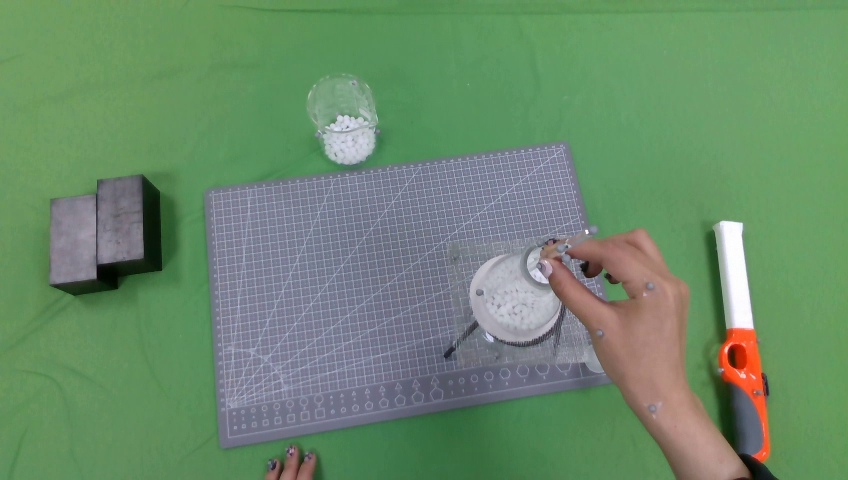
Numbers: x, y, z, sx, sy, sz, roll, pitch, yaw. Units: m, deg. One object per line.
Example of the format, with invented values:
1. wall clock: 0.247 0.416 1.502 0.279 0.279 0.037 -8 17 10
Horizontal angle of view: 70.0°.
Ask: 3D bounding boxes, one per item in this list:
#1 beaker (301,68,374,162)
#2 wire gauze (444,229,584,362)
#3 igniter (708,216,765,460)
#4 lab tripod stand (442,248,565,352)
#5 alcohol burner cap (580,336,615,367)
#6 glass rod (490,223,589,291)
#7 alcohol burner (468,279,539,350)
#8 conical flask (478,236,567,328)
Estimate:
1. beaker: -0.094 -0.140 0.707 0.084 0.100 0.074 26 75 5
2. wire gauze: 0.084 0.052 0.568 0.125 0.011 0.121 -2 77 -5
3. igniter: 0.354 0.105 0.690 0.057 0.025 0.275 5 73 -11
4. lab tripod stand: 0.085 0.072 0.631 0.148 0.132 0.147 0 75 -1
5. alcohol burner cap: 0.194 0.121 0.668 0.034 0.048 0.033 0 73 -1
6. glass rod: 0.082 0.018 0.469 0.008 0.200 0.008 3 74 -10
7. alcohol burner: 0.086 0.076 0.640 0.078 0.119 0.077 0 74 0
8. conical flask: 0.089 0.031 0.513 0.075 0.122 0.075 1 75 -2
